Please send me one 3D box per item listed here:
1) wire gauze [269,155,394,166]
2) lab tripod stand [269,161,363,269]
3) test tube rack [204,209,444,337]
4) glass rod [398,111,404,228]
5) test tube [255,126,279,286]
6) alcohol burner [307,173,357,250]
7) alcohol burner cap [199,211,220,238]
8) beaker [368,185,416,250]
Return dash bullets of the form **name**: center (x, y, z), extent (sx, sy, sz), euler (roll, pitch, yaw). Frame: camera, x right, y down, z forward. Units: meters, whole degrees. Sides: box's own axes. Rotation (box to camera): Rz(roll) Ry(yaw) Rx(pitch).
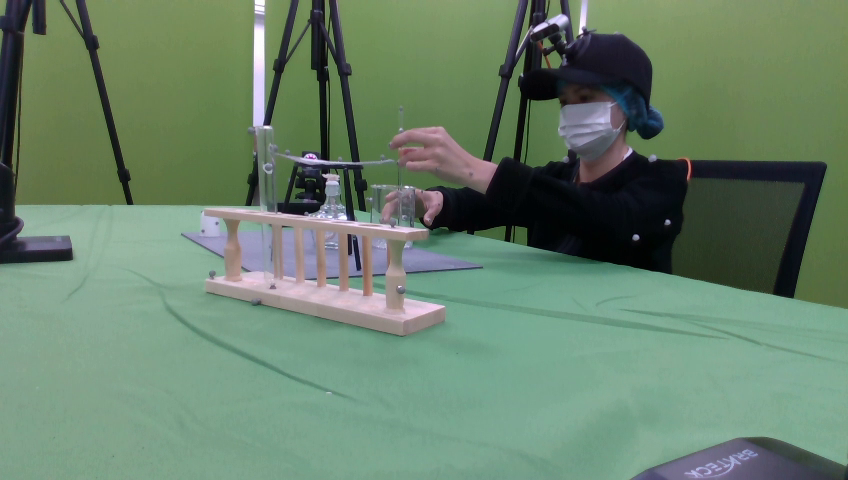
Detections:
- **wire gauze**: center (-0.121, -0.102, 0.785), extent (0.122, 0.011, 0.124), euler (-3, 10, -39)
- **lab tripod stand**: center (-0.125, -0.036, 0.794), extent (0.148, 0.131, 0.148), euler (5, 7, 0)
- **test tube rack**: center (-0.100, 0.021, 0.565), extent (0.241, 0.085, 0.067), euler (7, 9, 32)
- **glass rod**: center (-0.036, -0.101, 0.948), extent (0.008, 0.199, 0.008), euler (0, 18, 0)
- **test tube**: center (-0.147, -0.031, 0.566), extent (0.017, 0.150, 0.017), euler (-1, 8, 0)
- **alcohol burner**: center (-0.144, -0.045, 0.940), extent (0.078, 0.119, 0.078), euler (1, 8, 0)
- **alcohol burner cap**: center (-0.356, -0.027, 1.002), extent (0.034, 0.048, 0.034), euler (2, 7, 0)
- **beaker**: center (-0.051, -0.036, 0.958), extent (0.074, 0.100, 0.083), euler (-1, 9, -24)
